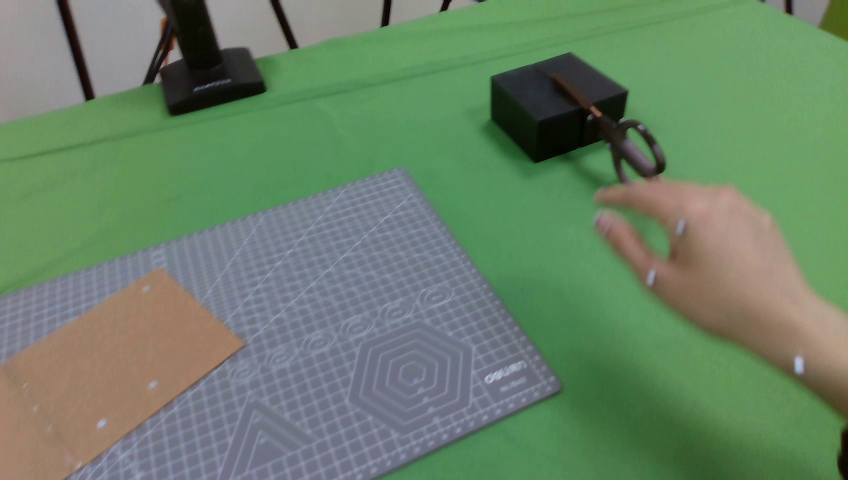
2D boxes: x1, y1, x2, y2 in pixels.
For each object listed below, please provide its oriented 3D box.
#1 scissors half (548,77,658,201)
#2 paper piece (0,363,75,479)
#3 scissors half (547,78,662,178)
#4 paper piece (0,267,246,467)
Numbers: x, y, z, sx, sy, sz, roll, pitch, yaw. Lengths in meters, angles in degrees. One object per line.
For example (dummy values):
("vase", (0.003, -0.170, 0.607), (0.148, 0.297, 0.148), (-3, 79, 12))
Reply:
("scissors half", (0.167, -0.102, 0.588), (0.013, 0.040, 0.173), (-24, 62, -11))
("paper piece", (-0.324, 0.157, 0.401), (0.134, 0.004, 0.135), (30, 53, 34))
("scissors half", (0.163, -0.115, 0.572), (0.013, 0.040, 0.173), (-28, 45, -7))
("paper piece", (-0.232, 0.087, 0.468), (0.135, 0.009, 0.138), (34, 54, 29))
